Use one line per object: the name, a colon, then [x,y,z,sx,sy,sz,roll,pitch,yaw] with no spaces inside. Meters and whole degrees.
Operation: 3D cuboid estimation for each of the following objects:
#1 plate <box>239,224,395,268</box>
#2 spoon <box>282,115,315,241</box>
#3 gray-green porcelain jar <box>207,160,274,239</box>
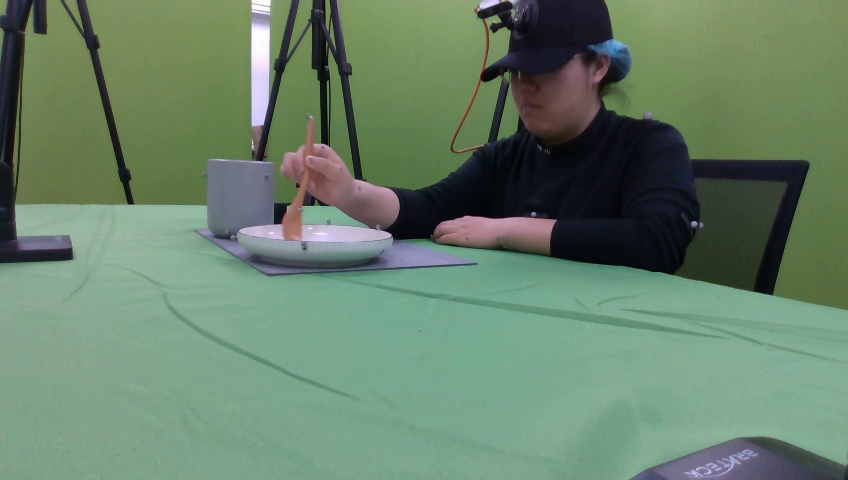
plate: [-0.144,0.007,0.823,0.208,0.039,0.207,3,7,0]
spoon: [-0.171,-0.083,0.854,0.021,0.193,0.042,8,-7,30]
gray-green porcelain jar: [-0.304,-0.068,1.003,0.106,0.126,0.106,3,7,0]
